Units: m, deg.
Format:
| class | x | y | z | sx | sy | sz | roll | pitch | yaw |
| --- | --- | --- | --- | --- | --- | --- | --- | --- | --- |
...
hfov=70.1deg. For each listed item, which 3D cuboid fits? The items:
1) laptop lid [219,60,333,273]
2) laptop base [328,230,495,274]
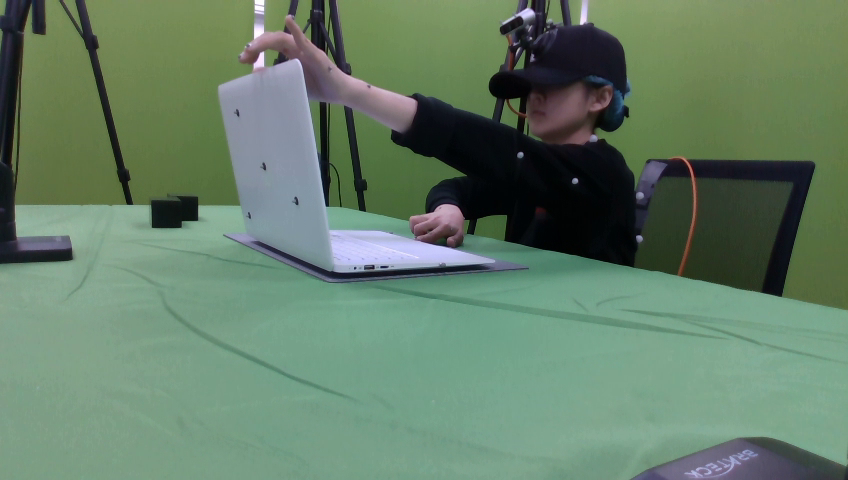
| class | x | y | z | sx | sy | sz | roll | pitch | yaw |
| --- | --- | --- | --- | --- | --- | --- | --- | --- | --- |
| laptop lid | -0.207 | -0.097 | 0.794 | 0.013 | 0.241 | 0.355 | -14 | 16 | -30 |
| laptop base | -0.093 | 0.015 | 0.884 | 0.237 | 0.023 | 0.352 | 3 | 6 | -32 |
